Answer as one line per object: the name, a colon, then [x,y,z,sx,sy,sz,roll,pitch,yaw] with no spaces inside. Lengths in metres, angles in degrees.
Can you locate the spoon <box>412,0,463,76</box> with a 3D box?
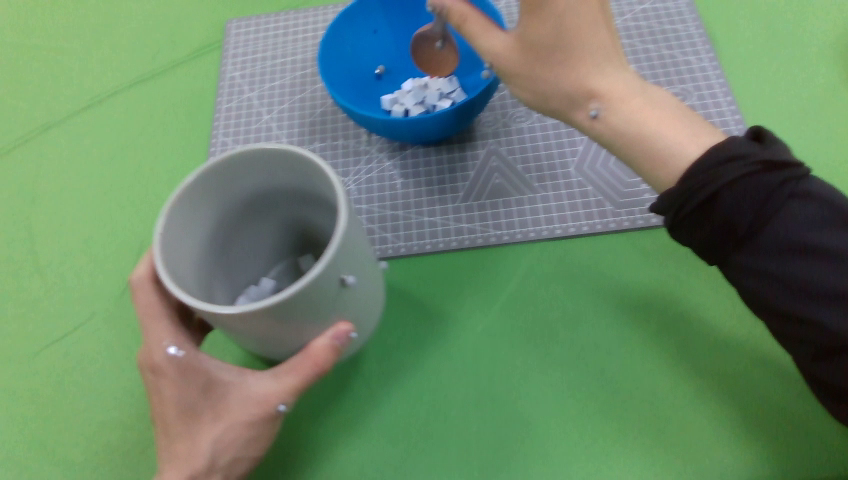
spoon: [0.015,-0.153,0.404,0.041,0.194,0.021,22,85,-2]

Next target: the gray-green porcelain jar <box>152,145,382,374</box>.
gray-green porcelain jar: [-0.085,0.020,0.375,0.106,0.127,0.105,-4,61,7]

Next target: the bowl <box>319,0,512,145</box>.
bowl: [-0.002,-0.132,0.498,0.151,0.077,0.150,-4,61,7]
